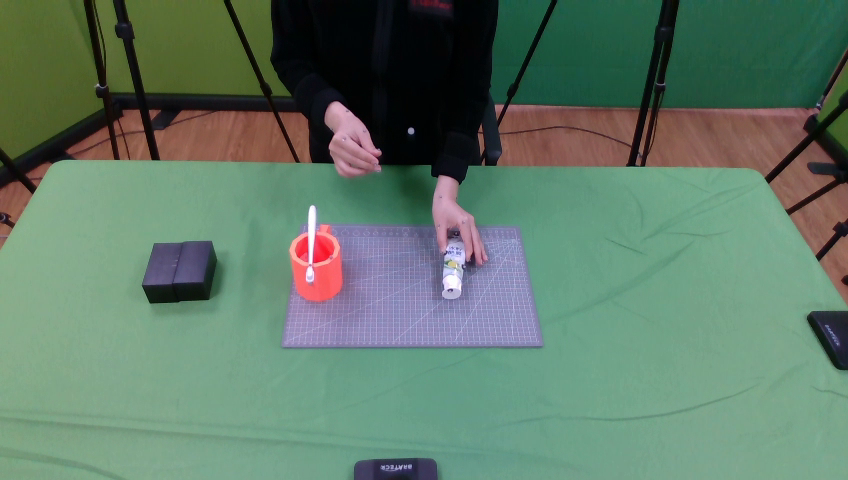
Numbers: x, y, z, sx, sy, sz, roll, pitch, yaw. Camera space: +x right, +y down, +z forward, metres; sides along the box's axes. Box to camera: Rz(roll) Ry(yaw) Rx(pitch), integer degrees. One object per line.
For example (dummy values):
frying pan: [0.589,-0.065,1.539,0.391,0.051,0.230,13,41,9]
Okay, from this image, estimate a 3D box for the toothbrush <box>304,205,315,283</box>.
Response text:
toothbrush: [-0.199,0.001,1.052,0.014,0.017,0.180,-5,46,-3]

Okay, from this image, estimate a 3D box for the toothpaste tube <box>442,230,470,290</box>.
toothpaste tube: [0.058,0.038,1.144,0.055,0.034,0.164,10,43,-2]

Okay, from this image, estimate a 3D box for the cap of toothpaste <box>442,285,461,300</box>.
cap of toothpaste: [0.049,0.093,1.084,0.037,0.037,0.011,-3,50,-7]

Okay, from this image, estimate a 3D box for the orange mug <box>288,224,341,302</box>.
orange mug: [-0.192,0.034,1.094,0.083,0.101,0.125,7,50,2]
